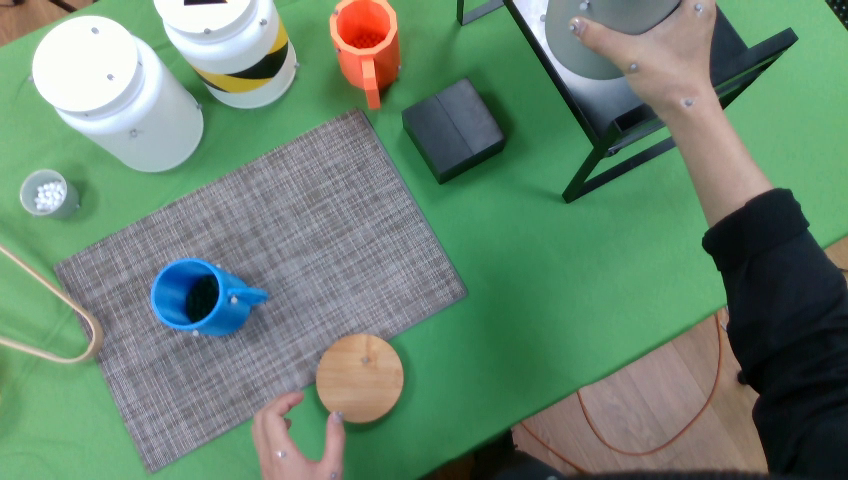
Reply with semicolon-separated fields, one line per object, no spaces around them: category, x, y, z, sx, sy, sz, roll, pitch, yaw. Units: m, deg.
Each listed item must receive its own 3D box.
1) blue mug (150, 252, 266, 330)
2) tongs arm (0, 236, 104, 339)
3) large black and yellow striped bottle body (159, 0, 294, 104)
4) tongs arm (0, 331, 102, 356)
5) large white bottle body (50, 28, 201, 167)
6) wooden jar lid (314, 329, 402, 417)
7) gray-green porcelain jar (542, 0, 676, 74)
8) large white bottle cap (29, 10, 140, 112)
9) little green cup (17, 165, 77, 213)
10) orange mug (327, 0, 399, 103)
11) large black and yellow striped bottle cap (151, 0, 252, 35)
blue mug;-0.251;0.064;0.733;0.116;0.106;0.082;-4;78;-1
tongs arm;-0.558;-0.002;0.767;0.387;0.028;0.028;37;72;0
large black and yellow striped bottle body;-0.247;-0.267;0.762;0.131;0.184;0.130;0;78;1
tongs arm;-0.597;0.071;0.750;0.385;0.026;0.050;23;76;-3
large white bottle body;-0.369;-0.178;0.744;0.130;0.185;0.130;0;78;0
wooden jar lid;-0.081;0.165;0.758;0.108;0.021;0.108;0;82;0
gray-green porcelain jar;0.157;-0.211;0.510;0.106;0.127;0.105;-1;73;3
large white bottle cap;-0.371;-0.196;0.661;0.115;0.018;0.114;0;79;1
little green cup;-0.493;-0.064;0.796;0.061;0.039;0.061;0;79;-1
orange mug;-0.077;-0.251;0.802;0.083;0.101;0.125;-6;74;-1
large black and yellow striped bottle cap;-0.250;-0.286;0.680;0.115;0.019;0.114;0;78;-1
